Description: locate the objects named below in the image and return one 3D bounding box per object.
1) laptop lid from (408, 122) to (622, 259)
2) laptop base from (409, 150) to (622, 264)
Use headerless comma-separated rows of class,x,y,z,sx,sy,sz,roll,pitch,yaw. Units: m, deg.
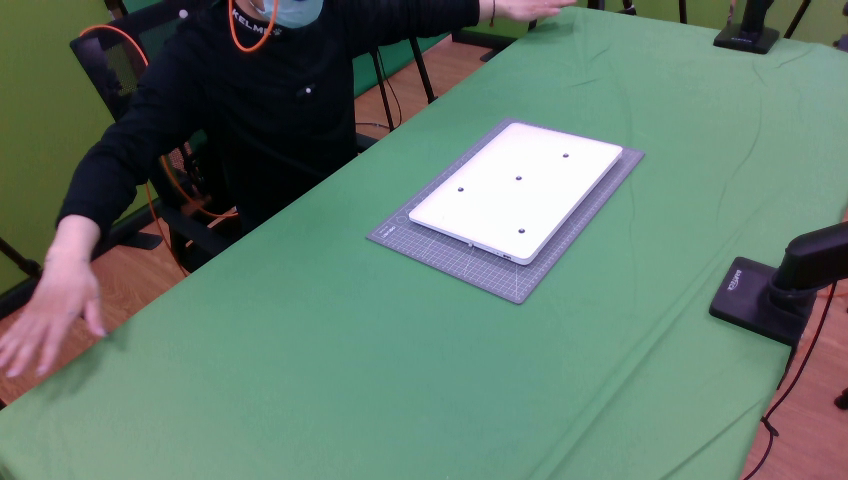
laptop lid,0.165,-0.105,1.050,0.240,0.013,0.358,22,48,33
laptop base,0.168,-0.095,1.057,0.233,0.023,0.355,19,47,33
